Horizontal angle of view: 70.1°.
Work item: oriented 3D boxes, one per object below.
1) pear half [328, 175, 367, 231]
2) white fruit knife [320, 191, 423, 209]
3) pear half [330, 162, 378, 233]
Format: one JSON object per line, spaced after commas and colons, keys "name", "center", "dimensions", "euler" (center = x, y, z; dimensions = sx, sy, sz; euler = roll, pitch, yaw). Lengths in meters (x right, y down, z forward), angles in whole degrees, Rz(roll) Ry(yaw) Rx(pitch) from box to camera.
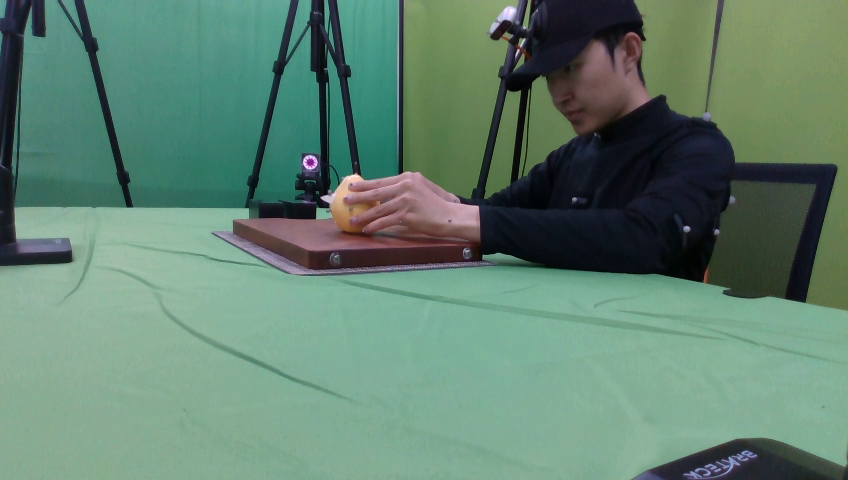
{"name": "pear half", "center": [-0.126, -0.059, 0.956], "dimensions": [0.031, 0.088, 0.071], "euler": [6, 16, 42]}
{"name": "white fruit knife", "center": [-0.080, -0.064, 0.980], "dimensions": [0.208, 0.027, 0.016], "euler": [-7, 14, -43]}
{"name": "pear half", "center": [-0.101, -0.064, 0.928], "dimensions": [0.055, 0.110, 0.077], "euler": [12, 17, 39]}
